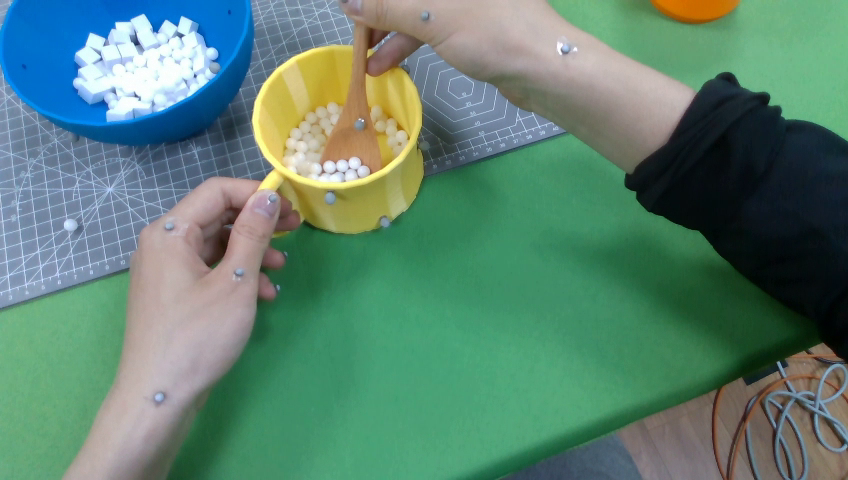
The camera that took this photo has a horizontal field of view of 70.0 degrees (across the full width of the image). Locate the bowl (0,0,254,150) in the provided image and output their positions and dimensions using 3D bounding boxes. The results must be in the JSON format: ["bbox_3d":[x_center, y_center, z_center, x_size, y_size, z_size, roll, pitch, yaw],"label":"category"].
[{"bbox_3d":[-0.179,-0.114,0.398,0.151,0.077,0.150,0,67,0],"label":"bowl"}]

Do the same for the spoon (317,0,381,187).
[{"bbox_3d":[-0.037,-0.107,0.355,0.041,0.195,0.021,13,25,8],"label":"spoon"}]

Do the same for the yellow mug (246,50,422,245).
[{"bbox_3d":[-0.061,-0.048,0.378,0.099,0.064,0.130,36,73,14],"label":"yellow mug"}]
